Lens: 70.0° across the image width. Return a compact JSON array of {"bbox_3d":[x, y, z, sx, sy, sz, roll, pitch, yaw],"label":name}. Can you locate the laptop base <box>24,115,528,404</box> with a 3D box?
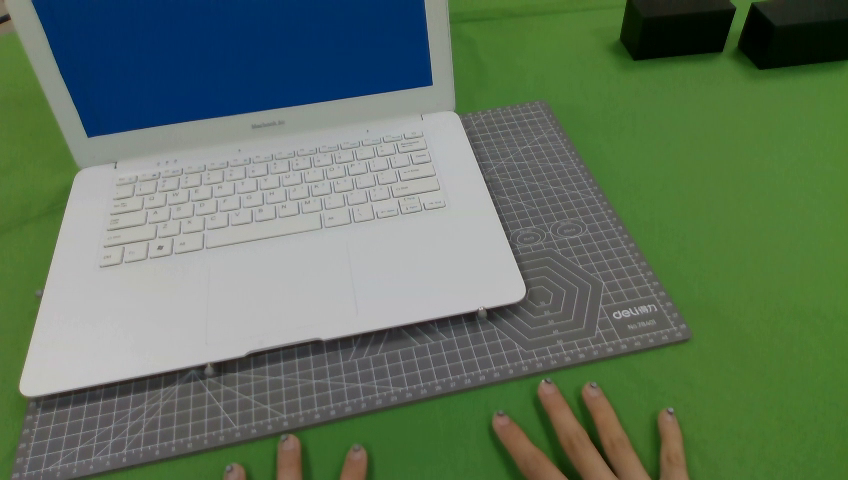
[{"bbox_3d":[-0.116,-0.002,0.496,0.355,0.023,0.233,-10,51,-6],"label":"laptop base"}]

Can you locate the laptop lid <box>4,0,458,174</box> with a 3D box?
[{"bbox_3d":[-0.151,-0.184,0.512,0.357,0.244,0.013,-12,33,-5],"label":"laptop lid"}]
